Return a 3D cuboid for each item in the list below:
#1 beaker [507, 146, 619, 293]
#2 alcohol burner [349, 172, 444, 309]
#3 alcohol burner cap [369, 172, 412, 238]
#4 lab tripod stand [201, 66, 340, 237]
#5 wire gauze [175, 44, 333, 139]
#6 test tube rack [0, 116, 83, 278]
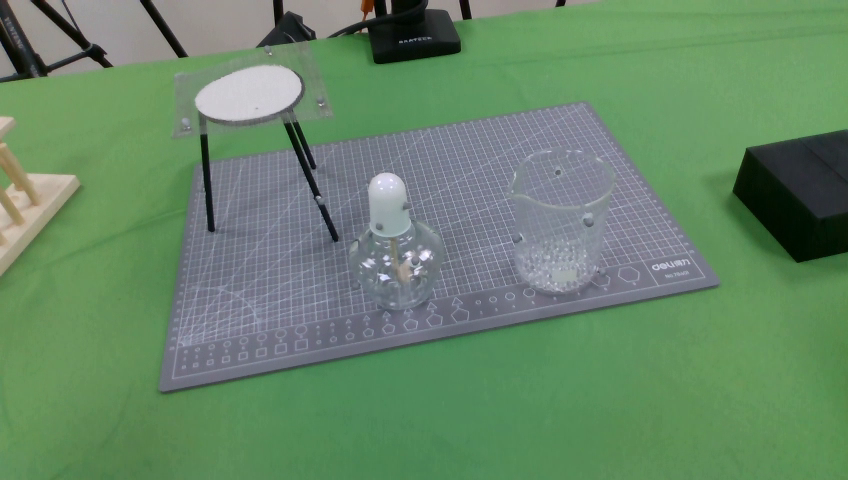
[{"bbox_3d":[0.107,-0.012,0.484,0.084,0.101,0.073,-13,44,-6],"label":"beaker"},{"bbox_3d":[-0.023,-0.002,0.477,0.078,0.120,0.077,-3,42,3],"label":"alcohol burner"},{"bbox_3d":[-0.026,-0.028,0.452,0.034,0.048,0.033,-1,41,1],"label":"alcohol burner cap"},{"bbox_3d":[-0.141,-0.077,0.552,0.148,0.133,0.147,-3,46,3],"label":"lab tripod stand"},{"bbox_3d":[-0.146,-0.125,0.505,0.125,0.011,0.120,-14,44,-8],"label":"wire gauze"},{"bbox_3d":[-0.424,-0.011,0.550,0.066,0.086,0.240,4,44,9],"label":"test tube rack"}]
